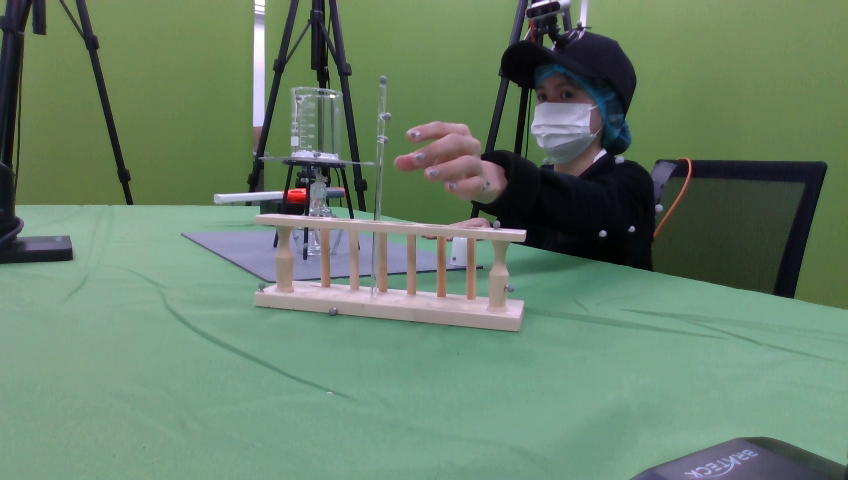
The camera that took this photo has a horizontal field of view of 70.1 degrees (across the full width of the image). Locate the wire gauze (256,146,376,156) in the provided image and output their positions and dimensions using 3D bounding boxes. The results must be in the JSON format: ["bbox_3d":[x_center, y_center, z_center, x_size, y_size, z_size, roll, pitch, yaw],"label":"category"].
[{"bbox_3d":[-0.155,-0.128,0.871,0.124,0.011,0.122,2,7,36],"label":"wire gauze"}]

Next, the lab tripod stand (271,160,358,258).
[{"bbox_3d":[-0.159,-0.048,0.876,0.148,0.131,0.148,3,5,0],"label":"lab tripod stand"}]

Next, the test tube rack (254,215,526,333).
[{"bbox_3d":[-0.030,0.025,0.557,0.242,0.085,0.067,4,7,12],"label":"test tube rack"}]

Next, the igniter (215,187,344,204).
[{"bbox_3d":[-0.289,-0.093,1.255,0.278,0.025,0.057,-6,12,-34],"label":"igniter"}]

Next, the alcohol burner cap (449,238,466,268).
[{"bbox_3d":[0.051,0.015,0.827,0.034,0.048,0.034,2,5,0],"label":"alcohol burner cap"}]

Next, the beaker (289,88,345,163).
[{"bbox_3d":[-0.157,-0.160,0.862,0.083,0.100,0.074,7,7,34],"label":"beaker"}]

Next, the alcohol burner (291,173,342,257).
[{"bbox_3d":[-0.155,-0.037,0.870,0.078,0.119,0.078,1,6,0],"label":"alcohol burner"}]

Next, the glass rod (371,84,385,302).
[{"bbox_3d":[-0.041,-0.040,0.548,0.008,0.199,0.008,2,2,0],"label":"glass rod"}]
